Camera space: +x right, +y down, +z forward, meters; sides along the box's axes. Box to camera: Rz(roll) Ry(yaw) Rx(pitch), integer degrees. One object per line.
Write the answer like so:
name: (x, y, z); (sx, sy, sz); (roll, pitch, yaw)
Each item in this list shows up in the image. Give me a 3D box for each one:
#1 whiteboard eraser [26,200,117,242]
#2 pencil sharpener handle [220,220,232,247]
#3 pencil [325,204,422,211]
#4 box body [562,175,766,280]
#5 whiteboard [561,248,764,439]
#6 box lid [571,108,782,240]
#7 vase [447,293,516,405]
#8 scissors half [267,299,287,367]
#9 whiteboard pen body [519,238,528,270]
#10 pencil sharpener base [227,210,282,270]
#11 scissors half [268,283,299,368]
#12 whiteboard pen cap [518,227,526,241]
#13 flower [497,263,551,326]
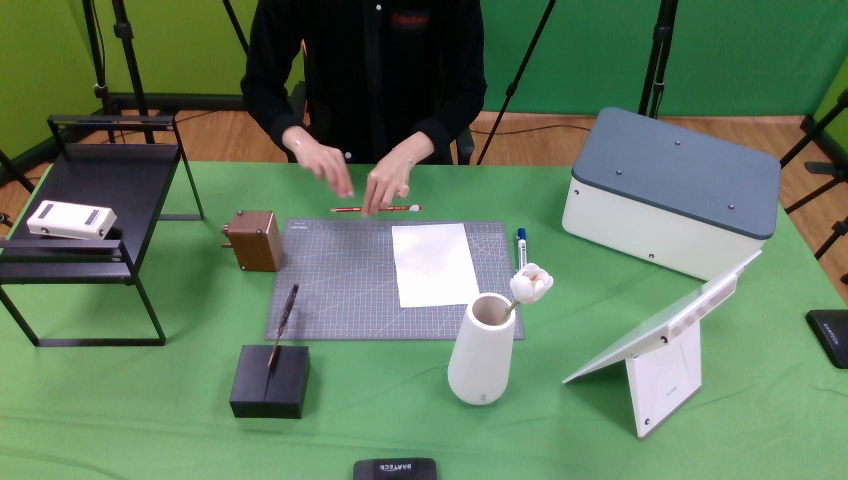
whiteboard eraser: (-0.532, -0.026, 0.919); (0.113, 0.042, 0.055); (7, 45, 3)
pencil sharpener handle: (-0.362, -0.009, 1.104); (0.030, 0.068, 0.036); (1, 52, 1)
pencil: (-0.091, -0.060, 1.138); (0.194, 0.012, 0.012); (-3, 45, -26)
box body: (0.486, -0.088, 1.222); (0.363, 0.161, 0.253); (20, 48, 15)
whiteboard: (0.386, 0.176, 0.905); (0.217, 0.306, 0.143); (-26, 72, -27)
box lid: (0.491, -0.139, 1.168); (0.370, 0.015, 0.262); (21, 49, 15)
vase: (0.091, 0.169, 0.921); (0.098, 0.201, 0.097); (3, 47, -3)
scissors half: (-0.239, 0.150, 0.997); (0.013, 0.040, 0.174); (24, 24, -13)
whiteboard pen body: (0.193, 0.035, 1.180); (0.017, 0.017, 0.140); (6, 48, 1)
pencil sharpener base: (-0.311, 0.001, 1.112); (0.077, 0.107, 0.061); (1, 47, 1)
scissors half: (-0.230, 0.135, 0.986); (0.013, 0.040, 0.174); (19, 43, -11)
whiteboard pen cap: (0.197, -0.009, 1.220); (0.018, 0.018, 0.033); (5, 51, 1)
flower: (0.102, 0.121, 0.852); (0.044, 0.363, 0.038); (-2, 64, -10)
